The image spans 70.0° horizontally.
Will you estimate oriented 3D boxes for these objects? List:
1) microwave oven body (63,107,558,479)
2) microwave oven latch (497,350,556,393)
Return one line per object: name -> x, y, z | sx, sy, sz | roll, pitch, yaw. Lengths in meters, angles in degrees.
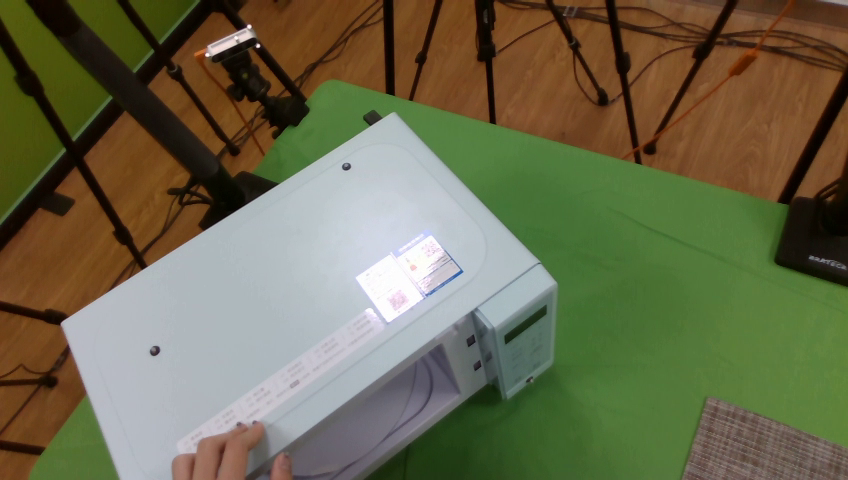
microwave oven body -> -0.114, 0.112, 0.724 | 0.441, 0.263, 0.322 | -35, 60, -10
microwave oven latch -> 0.129, 0.158, 0.765 | 0.079, 0.030, 0.030 | -33, 60, -9
